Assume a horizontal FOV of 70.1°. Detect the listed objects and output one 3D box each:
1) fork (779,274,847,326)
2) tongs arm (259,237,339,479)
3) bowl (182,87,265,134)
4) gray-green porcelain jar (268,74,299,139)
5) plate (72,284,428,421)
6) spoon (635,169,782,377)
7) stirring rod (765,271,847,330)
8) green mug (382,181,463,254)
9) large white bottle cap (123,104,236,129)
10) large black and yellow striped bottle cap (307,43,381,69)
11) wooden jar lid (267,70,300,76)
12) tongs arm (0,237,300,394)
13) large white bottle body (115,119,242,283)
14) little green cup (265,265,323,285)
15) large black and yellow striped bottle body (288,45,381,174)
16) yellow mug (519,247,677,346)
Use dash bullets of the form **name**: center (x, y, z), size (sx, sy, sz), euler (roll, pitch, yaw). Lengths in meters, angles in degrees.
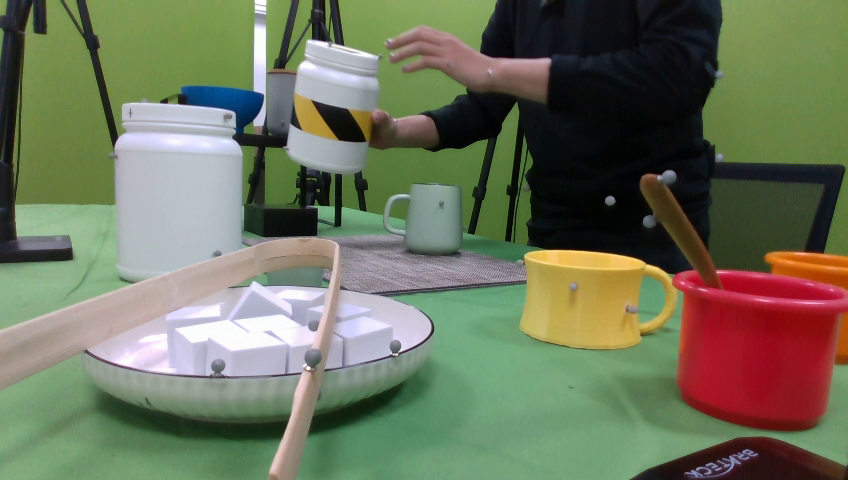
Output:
- **fork**: center (0.332, 0.019, 0.443), size (0.028, 0.018, 0.207), euler (-3, -35, -16)
- **tongs arm**: center (-0.074, 0.040, 0.345), size (0.051, 0.026, 0.384), euler (-2, 9, -3)
- **bowl**: center (-0.383, -0.244, 1.158), size (0.151, 0.077, 0.151), euler (2, 6, 0)
- **gray-green porcelain jar**: center (-0.277, -0.279, 1.280), size (0.106, 0.126, 0.106), euler (2, 8, 0)
- **plate**: center (-0.102, 0.067, 0.381), size (0.208, 0.039, 0.207), euler (3, 7, 0)
- **spoon**: center (0.161, 0.026, 0.346), size (0.021, 0.194, 0.041), euler (-51, 32, -20)
- **stirring rod**: center (0.352, 0.020, 0.481), size (0.176, 0.006, 0.014), euler (-40, -8, 17)
- **green mug**: center (-0.001, -0.036, 0.922), size (0.126, 0.105, 0.092), euler (0, 8, -16)
- **large white bottle cap**: center (-0.266, -0.135, 0.663), size (0.115, 0.018, 0.115), euler (3, 7, 0)
- **large black and yellow striped bottle cap**: center (-0.125, -0.289, 0.948), size (0.115, 0.019, 0.115), euler (13, 18, -4)
- **wooden jar lid**: center (-0.275, -0.340, 1.271), size (0.108, 0.020, 0.108), euler (5, 6, 0)
- **tongs arm**: center (-0.158, 0.039, 0.346), size (0.028, 0.028, 0.388), euler (-3, 8, 11)
- **large white bottle body**: center (-0.270, -0.051, 0.674), size (0.131, 0.184, 0.130), euler (2, 8, 0)
- **little green cup**: center (-0.134, 0.034, 0.628), size (0.061, 0.038, 0.061), euler (3, 6, 0)
- **large black and yellow striped bottle body**: center (-0.142, -0.212, 0.977), size (0.131, 0.184, 0.130), euler (12, 20, -4)
- **yellow mug**: center (0.148, 0.045, 0.513), size (0.131, 0.064, 0.100), euler (3, 7, 0)
